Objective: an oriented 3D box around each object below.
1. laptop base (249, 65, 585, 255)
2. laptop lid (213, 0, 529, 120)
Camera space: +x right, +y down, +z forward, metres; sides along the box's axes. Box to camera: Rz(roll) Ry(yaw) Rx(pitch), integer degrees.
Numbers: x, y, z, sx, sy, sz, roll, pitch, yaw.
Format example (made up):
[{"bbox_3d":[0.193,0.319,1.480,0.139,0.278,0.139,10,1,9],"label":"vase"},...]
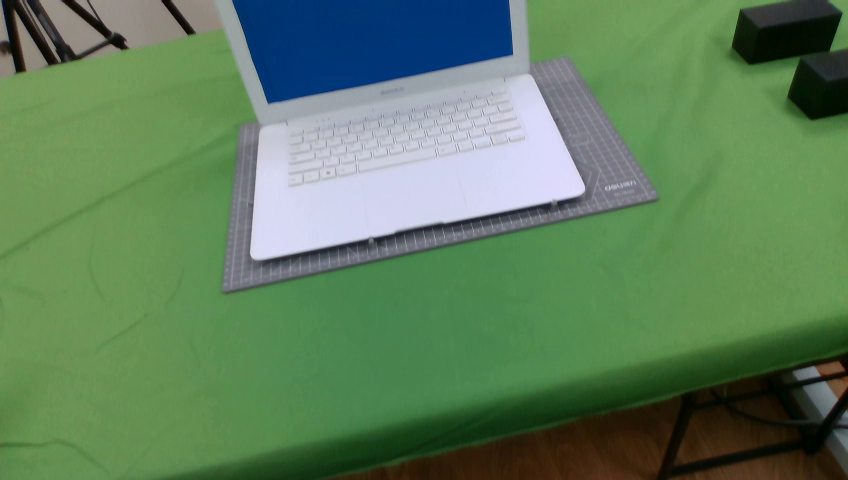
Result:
[{"bbox_3d":[-0.021,-0.099,0.696,0.354,0.023,0.233,-12,50,0],"label":"laptop base"},{"bbox_3d":[-0.057,-0.274,0.701,0.357,0.244,0.013,-13,39,1],"label":"laptop lid"}]
